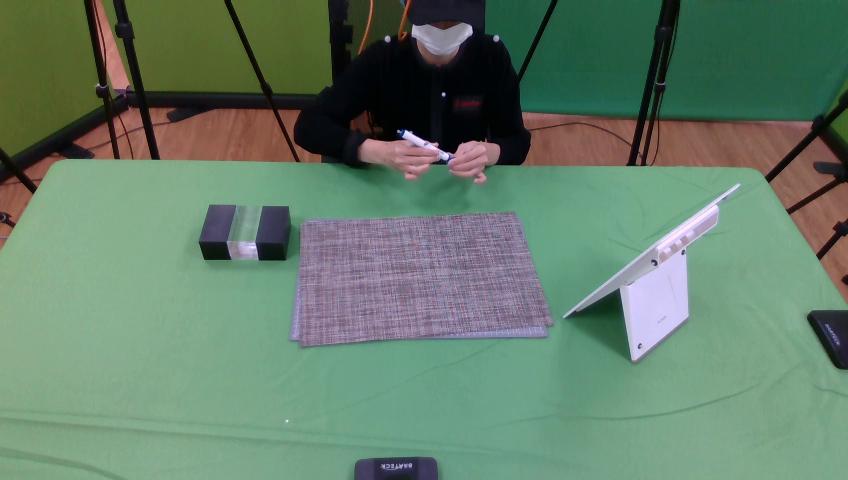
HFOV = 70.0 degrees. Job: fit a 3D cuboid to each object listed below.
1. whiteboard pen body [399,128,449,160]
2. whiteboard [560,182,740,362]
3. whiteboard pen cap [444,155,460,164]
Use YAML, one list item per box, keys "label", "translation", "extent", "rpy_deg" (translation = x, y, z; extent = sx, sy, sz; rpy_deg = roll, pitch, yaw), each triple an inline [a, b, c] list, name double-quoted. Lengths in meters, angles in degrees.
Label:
- label: "whiteboard pen body"
  translation: [0.009, -0.189, 1.229]
  extent: [0.141, 0.017, 0.017]
  rpy_deg: [25, 39, -28]
- label: "whiteboard"
  translation: [0.406, 0.075, 1.001]
  extent: [0.217, 0.306, 0.143]
  rpy_deg: [-28, 73, -28]
- label: "whiteboard pen cap"
  translation: [0.058, -0.169, 1.258]
  extent: [0.033, 0.018, 0.018]
  rpy_deg: [5, 41, -35]
